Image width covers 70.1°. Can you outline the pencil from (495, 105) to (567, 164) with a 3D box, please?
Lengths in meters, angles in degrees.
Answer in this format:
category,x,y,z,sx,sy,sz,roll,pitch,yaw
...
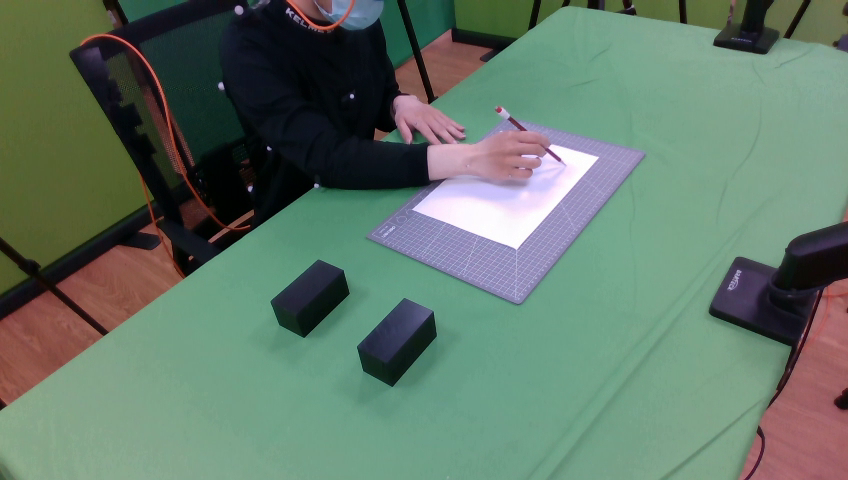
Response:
category,x,y,z,sx,sy,sz,roll,pitch,yaw
pencil,0.190,-0.180,1.047,0.012,0.196,0.012,-32,43,36
